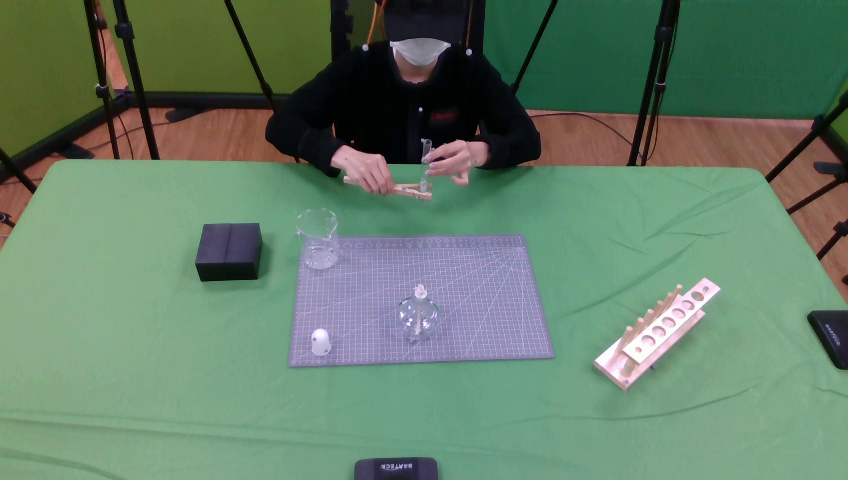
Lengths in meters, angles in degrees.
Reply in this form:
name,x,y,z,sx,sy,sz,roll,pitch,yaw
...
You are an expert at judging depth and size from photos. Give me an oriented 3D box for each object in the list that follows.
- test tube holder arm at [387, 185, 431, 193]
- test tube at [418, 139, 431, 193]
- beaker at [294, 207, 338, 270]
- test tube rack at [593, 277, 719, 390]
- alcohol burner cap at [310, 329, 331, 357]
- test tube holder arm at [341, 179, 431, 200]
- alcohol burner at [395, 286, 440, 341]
name,x,y,z,sx,sy,sz,roll,pitch,yaw
test tube holder arm,-0.031,-0.100,1.204,0.088,0.015,0.010,-3,44,-12
test tube,0.000,-0.132,1.158,0.017,0.151,0.017,2,50,-3
beaker,-0.196,0.003,1.123,0.074,0.101,0.083,-23,53,-24
test tube rack,0.401,0.148,1.043,0.242,0.085,0.066,-30,55,-29
alcohol burner cap,-0.173,0.168,1.004,0.034,0.048,0.033,2,46,-2
test tube holder arm,-0.075,-0.100,1.197,0.178,0.015,0.013,8,42,0
alcohol burner,-0.010,0.116,1.018,0.078,0.119,0.077,3,47,-3
